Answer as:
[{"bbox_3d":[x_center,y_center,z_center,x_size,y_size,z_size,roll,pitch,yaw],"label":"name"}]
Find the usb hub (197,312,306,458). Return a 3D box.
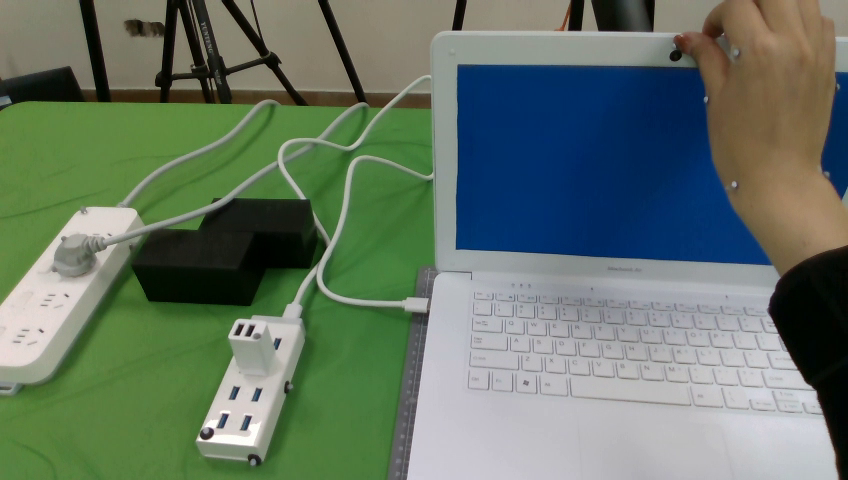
[{"bbox_3d":[-0.138,0.114,0.498,0.049,0.025,0.124,3,42,7],"label":"usb hub"}]

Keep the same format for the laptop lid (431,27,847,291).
[{"bbox_3d":[0.181,-0.053,0.495,0.356,0.244,0.013,2,38,6],"label":"laptop lid"}]

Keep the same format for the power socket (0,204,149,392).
[{"bbox_3d":[-0.342,0.041,0.580,0.072,0.033,0.224,4,42,5],"label":"power socket"}]

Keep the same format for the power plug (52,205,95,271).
[{"bbox_3d":[-0.336,0.004,0.589,0.035,0.053,0.072,0,35,-12],"label":"power plug"}]

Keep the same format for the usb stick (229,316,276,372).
[{"bbox_3d":[-0.135,0.088,0.484,0.027,0.060,0.021,2,42,7],"label":"usb stick"}]

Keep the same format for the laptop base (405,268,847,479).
[{"bbox_3d":[0.171,0.121,0.483,0.354,0.023,0.233,3,46,5],"label":"laptop base"}]
